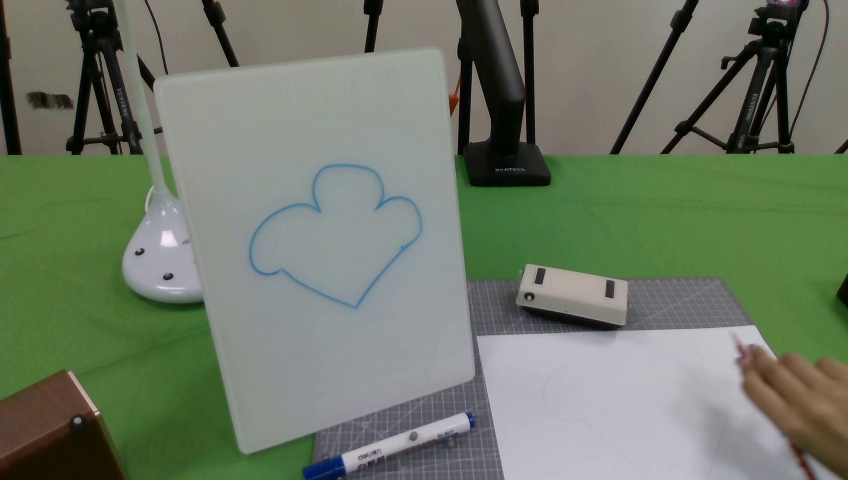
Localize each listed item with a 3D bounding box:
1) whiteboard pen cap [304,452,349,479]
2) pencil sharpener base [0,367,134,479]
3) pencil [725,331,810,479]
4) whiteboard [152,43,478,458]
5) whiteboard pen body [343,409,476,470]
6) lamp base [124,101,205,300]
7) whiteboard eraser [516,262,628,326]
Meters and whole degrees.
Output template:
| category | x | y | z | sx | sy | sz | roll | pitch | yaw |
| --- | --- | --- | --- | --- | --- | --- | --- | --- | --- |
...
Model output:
| category | x | y | z | sx | sy | sz | roll | pitch | yaw |
| --- | --- | --- | --- | --- | --- | --- | --- | --- | --- |
| whiteboard pen cap | -0.076 | 0.180 | 0.477 | 0.033 | 0.018 | 0.018 | -14 | 38 | -19 |
| pencil sharpener base | -0.263 | 0.158 | 0.430 | 0.077 | 0.108 | 0.061 | -29 | 46 | -35 |
| pencil | 0.280 | 0.147 | 0.485 | 0.012 | 0.012 | 0.192 | 0 | 42 | -3 |
| whiteboard | -0.091 | -0.005 | 0.548 | 0.218 | 0.307 | 0.142 | -13 | 19 | -19 |
| whiteboard pen body | -0.022 | 0.166 | 0.497 | 0.141 | 0.017 | 0.017 | -14 | 38 | -19 |
| lamp base | -0.270 | -0.052 | 0.665 | 0.177 | 0.182 | 0.160 | 24 | 41 | 32 |
| whiteboard eraser | 0.158 | 0.058 | 0.645 | 0.112 | 0.042 | 0.055 | 10 | 37 | 12 |
